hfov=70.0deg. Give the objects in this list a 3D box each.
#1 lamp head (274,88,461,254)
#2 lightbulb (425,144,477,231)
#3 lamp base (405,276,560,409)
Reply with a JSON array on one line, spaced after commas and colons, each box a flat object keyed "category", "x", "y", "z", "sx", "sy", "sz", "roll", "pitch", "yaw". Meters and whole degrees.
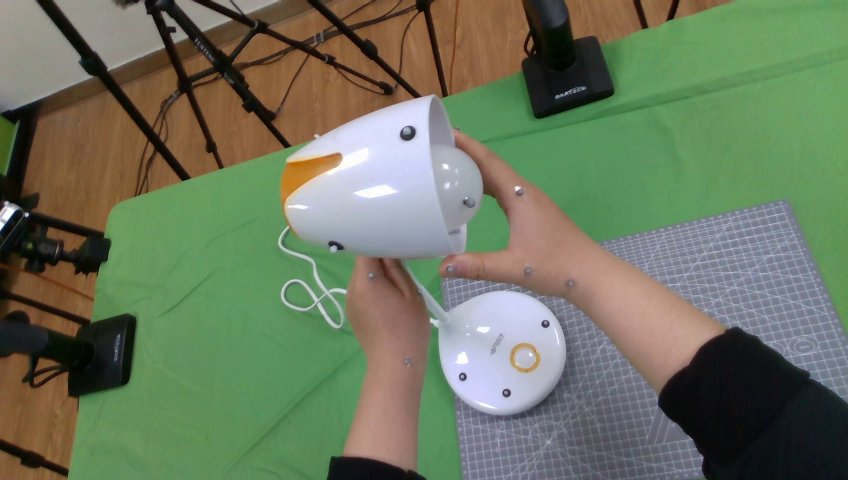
[{"category": "lamp head", "x": -0.039, "y": -0.038, "z": 0.427, "sx": 0.122, "sy": 0.113, "sz": 0.111, "roll": -10, "pitch": 63, "yaw": 18}, {"category": "lightbulb", "x": -0.017, "y": -0.030, "z": 0.417, "sx": 0.107, "sy": 0.060, "sz": 0.059, "roll": -12, "pitch": 62, "yaw": 16}, {"category": "lamp base", "x": 0.055, "y": 0.099, "z": 0.707, "sx": 0.178, "sy": 0.182, "sz": 0.160, "roll": 11, "pitch": 70, "yaw": 28}]
